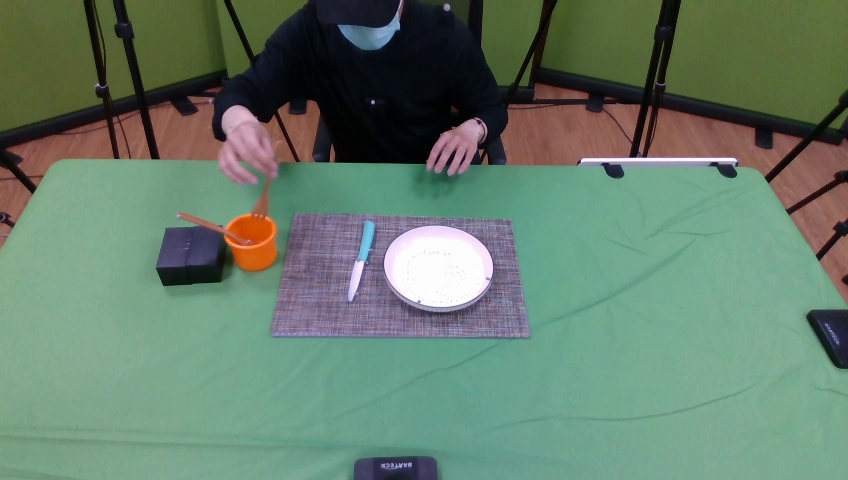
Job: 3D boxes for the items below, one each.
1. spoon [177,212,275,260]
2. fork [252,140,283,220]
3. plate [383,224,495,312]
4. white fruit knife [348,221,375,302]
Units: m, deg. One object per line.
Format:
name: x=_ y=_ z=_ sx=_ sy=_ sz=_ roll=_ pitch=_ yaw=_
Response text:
spoon: x=-0.353 y=-0.009 z=1.092 sx=0.021 sy=0.195 sz=0.041 roll=-36 pitch=43 yaw=24
fork: x=-0.264 y=-0.096 z=1.025 sx=0.028 sy=0.208 sz=0.018 roll=13 pitch=47 yaw=-17
plate: x=0.026 y=0.055 z=1.128 sx=0.209 sy=0.038 sz=0.208 roll=2 pitch=46 yaw=-2
white fruit knife: x=-0.119 y=0.037 z=1.153 sx=0.027 sy=0.016 sz=0.206 roll=-15 pitch=43 yaw=24
